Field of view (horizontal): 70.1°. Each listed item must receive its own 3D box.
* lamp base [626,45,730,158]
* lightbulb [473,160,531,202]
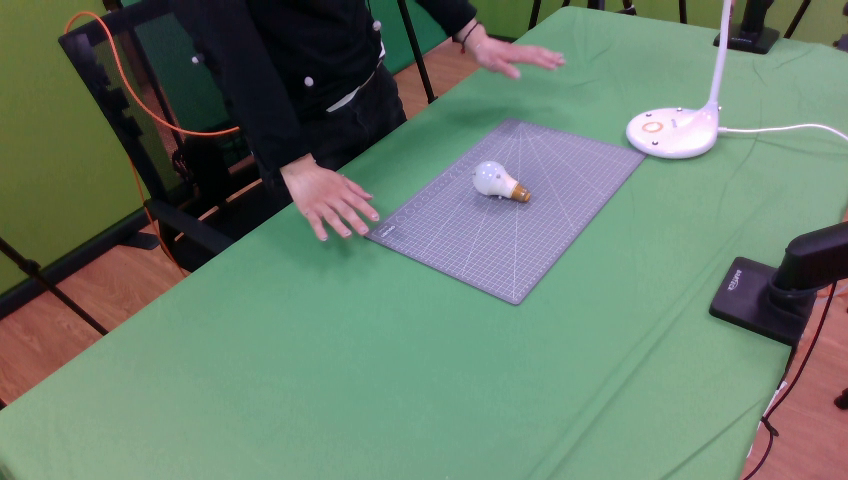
[{"bbox_3d":[0.467,-0.262,1.085,0.179,0.181,0.159,-5,41,-1],"label":"lamp base"},{"bbox_3d":[0.134,-0.097,1.038,0.107,0.059,0.059,29,50,15],"label":"lightbulb"}]
